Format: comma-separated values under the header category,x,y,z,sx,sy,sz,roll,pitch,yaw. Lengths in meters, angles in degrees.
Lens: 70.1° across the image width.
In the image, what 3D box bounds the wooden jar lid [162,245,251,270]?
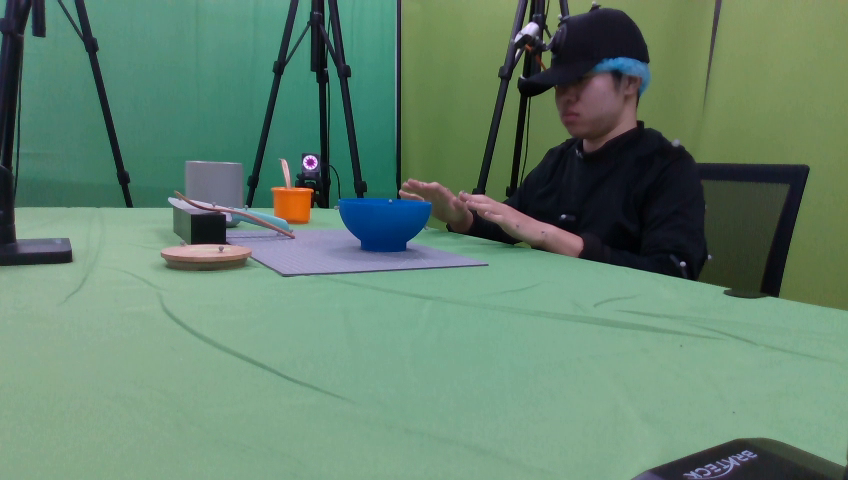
category,x,y,z,sx,sy,sz,roll,pitch,yaw
wooden jar lid,-0.278,0.022,0.777,0.108,0.020,0.108,2,6,0

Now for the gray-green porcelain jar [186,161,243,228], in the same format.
category,x,y,z,sx,sy,sz,roll,pitch,yaw
gray-green porcelain jar,-0.412,-0.090,1.193,0.106,0.126,0.106,2,7,0

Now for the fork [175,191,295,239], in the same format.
category,x,y,z,sx,sy,sz,roll,pitch,yaw
fork,-0.305,-0.039,0.993,0.208,0.018,0.028,19,-9,-34

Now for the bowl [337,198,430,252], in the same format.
category,x,y,z,sx,sy,sz,roll,pitch,yaw
bowl,-0.066,-0.024,0.967,0.151,0.077,0.151,3,7,0

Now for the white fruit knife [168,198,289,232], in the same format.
category,x,y,z,sx,sy,sz,roll,pitch,yaw
white fruit knife,-0.329,-0.044,1.036,0.208,0.027,0.016,14,-1,-32

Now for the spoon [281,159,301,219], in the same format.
category,x,y,z,sx,sy,sz,roll,pitch,yaw
spoon,-0.307,-0.117,1.368,0.042,0.193,0.021,1,-37,-22
